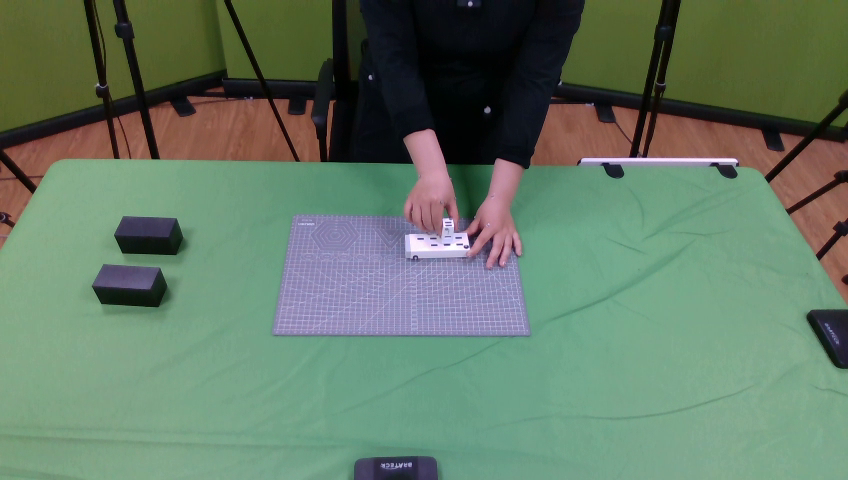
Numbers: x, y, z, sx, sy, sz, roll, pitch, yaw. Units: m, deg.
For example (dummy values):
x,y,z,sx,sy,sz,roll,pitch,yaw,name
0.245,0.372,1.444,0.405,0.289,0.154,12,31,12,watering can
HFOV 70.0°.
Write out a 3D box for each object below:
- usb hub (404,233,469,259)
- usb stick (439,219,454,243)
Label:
x,y,z,sx,sy,sz,roll,pitch,yaw,name
0.024,0.012,1.181,0.125,0.025,0.049,-1,46,-5,usb hub
0.042,-0.012,1.165,0.021,0.059,0.027,0,50,-10,usb stick
